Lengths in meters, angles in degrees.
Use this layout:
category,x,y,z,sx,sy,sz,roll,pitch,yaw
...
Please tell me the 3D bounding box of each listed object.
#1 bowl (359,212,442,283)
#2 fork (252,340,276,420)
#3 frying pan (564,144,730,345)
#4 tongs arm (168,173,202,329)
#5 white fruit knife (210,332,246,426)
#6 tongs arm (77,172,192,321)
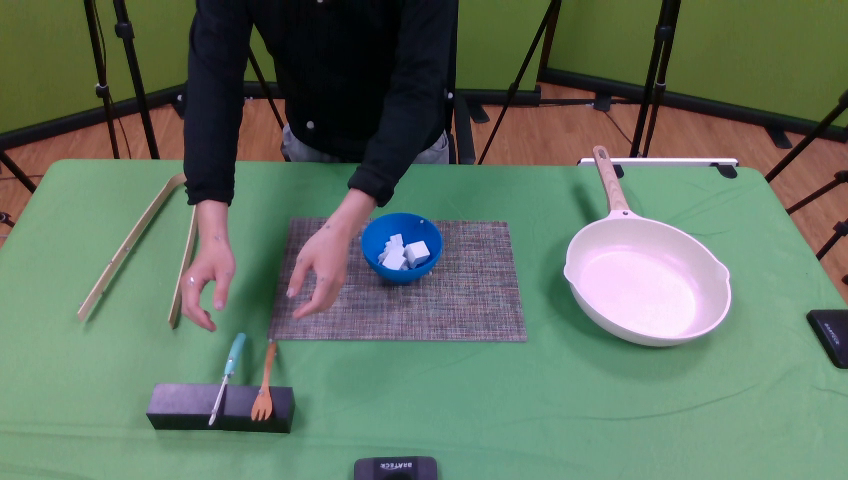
category,x,y,z,sx,sy,sz,roll,pitch,yaw
bowl,-0.044,0.026,1.125,0.151,0.077,0.150,2,46,-2
fork,-0.242,0.211,0.932,0.028,0.019,0.206,-6,27,-6
frying pan,0.396,-0.008,1.179,0.307,0.103,0.484,0,55,-5
tongs arm,-0.454,0.006,1.153,0.028,0.028,0.385,-5,47,-6
white fruit knife,-0.301,0.206,0.930,0.016,0.027,0.206,5,29,-7
tongs arm,-0.535,-0.002,1.147,0.051,0.026,0.382,7,45,1
